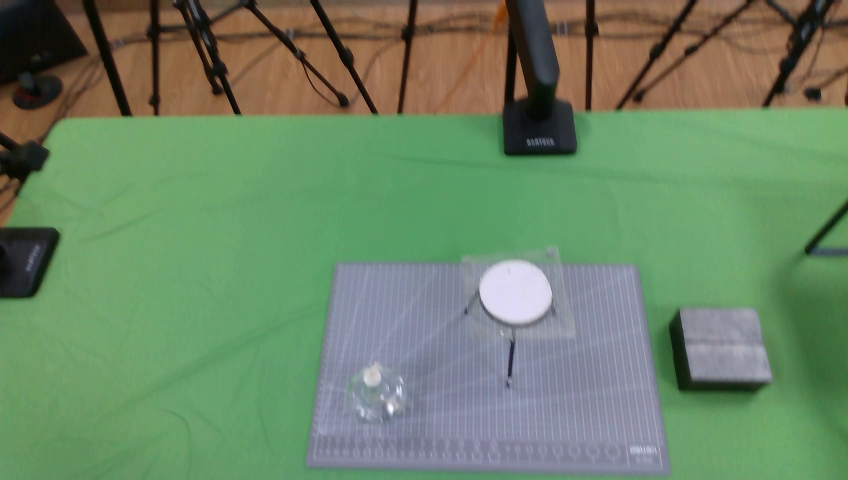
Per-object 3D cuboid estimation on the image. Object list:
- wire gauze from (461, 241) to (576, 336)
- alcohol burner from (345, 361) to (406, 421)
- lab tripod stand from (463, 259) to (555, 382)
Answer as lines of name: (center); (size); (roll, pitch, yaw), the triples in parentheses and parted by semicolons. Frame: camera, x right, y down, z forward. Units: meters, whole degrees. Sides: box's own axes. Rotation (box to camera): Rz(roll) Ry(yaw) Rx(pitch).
wire gauze: (0.110, 0.058, 0.725); (0.125, 0.011, 0.120); (-4, 59, 0)
alcohol burner: (-0.061, 0.181, 0.750); (0.078, 0.120, 0.077); (0, 57, 1)
lab tripod stand: (0.116, 0.091, 0.784); (0.148, 0.132, 0.147); (-1, 57, 2)
